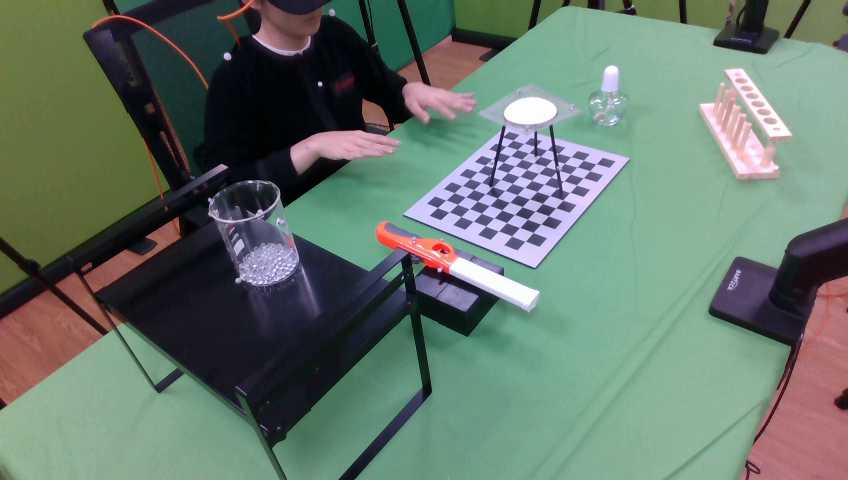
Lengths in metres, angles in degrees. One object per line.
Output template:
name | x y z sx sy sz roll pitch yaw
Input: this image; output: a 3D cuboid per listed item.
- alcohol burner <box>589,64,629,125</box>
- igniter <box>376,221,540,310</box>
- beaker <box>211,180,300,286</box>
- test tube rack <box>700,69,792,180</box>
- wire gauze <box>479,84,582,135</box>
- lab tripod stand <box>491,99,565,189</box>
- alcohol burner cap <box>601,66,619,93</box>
alcohol burner | 0.364 -0.287 1.184 0.078 0.119 0.077 -4 39 4
igniter | 0.037 0.031 0.858 0.274 0.025 0.057 24 46 29
beaker | -0.183 -0.007 0.674 0.074 0.101 0.083 -1 40 7
test tube rack | 0.572 -0.215 1.089 0.066 0.085 0.241 -3 41 7
wire gauze | 0.176 -0.216 1.006 0.125 0.011 0.120 -29 46 -22
lab tripod stand | 0.184 -0.163 1.046 0.148 0.132 0.147 -5 42 5
alcohol burner cap | 0.361 -0.312 1.166 0.034 0.048 0.033 -3 38 3
